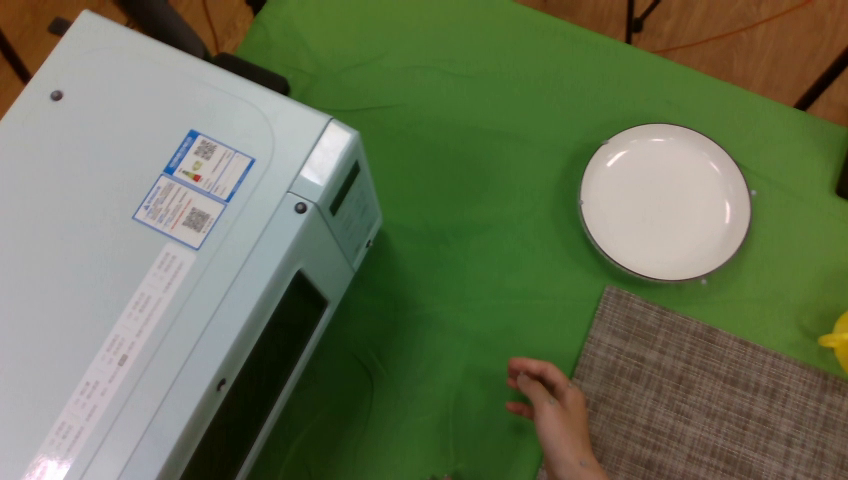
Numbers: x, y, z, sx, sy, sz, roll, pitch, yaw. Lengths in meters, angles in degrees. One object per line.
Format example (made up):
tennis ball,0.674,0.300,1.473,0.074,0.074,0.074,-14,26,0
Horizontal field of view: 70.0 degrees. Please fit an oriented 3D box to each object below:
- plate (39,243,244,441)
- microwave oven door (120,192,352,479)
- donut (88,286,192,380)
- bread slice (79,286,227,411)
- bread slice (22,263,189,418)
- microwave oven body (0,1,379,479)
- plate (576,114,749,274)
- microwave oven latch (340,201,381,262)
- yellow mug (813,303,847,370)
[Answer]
plate,-0.297,0.106,0.652,0.209,0.038,0.208,1,76,-3
microwave oven door,-0.181,0.145,0.583,0.039,0.245,0.354,24,76,8
donut,-0.291,0.096,0.626,0.099,0.048,0.098,4,70,-10
bread slice,-0.303,0.123,0.668,0.104,0.019,0.131,41,57,10
bread slice,-0.305,0.089,0.601,0.107,0.018,0.134,35,70,0
microwave oven body,-0.293,0.051,0.618,0.325,0.261,0.440,24,77,8
plate,0.291,-0.055,0.756,0.208,0.039,0.206,0,74,1
microwave oven latch,-0.080,-0.015,0.733,0.030,0.029,0.079,27,77,8
yellow mug,0.515,0.109,0.689,0.131,0.064,0.099,2,73,3
